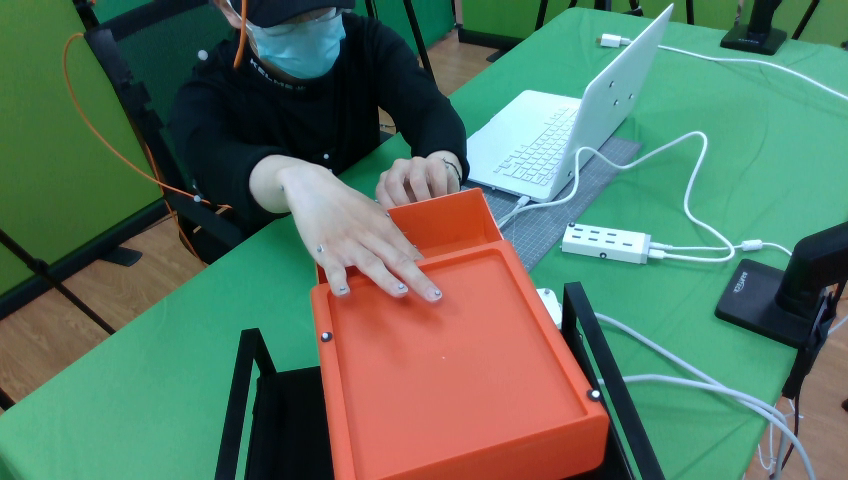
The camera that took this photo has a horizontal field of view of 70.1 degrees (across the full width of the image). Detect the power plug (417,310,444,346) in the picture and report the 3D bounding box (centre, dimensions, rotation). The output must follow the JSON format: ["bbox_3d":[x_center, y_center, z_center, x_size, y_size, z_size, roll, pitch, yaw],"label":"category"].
[{"bbox_3d":[0.006,0.123,0.785,0.035,0.053,0.072,1,39,9],"label":"power plug"}]

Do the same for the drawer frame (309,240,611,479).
[{"bbox_3d":[0.017,0.109,0.517,0.202,0.083,0.212,-13,40,-8],"label":"drawer frame"}]

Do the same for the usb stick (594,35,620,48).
[{"bbox_3d":[0.443,-0.482,1.466,0.059,0.021,0.027,10,43,10],"label":"usb stick"}]

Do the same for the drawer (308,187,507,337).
[{"bbox_3d":[-0.006,0.050,0.595,0.195,0.073,0.210,-12,40,-6],"label":"drawer"}]

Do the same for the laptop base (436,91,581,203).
[{"bbox_3d":[0.214,-0.193,1.172,0.233,0.023,0.355,19,46,32],"label":"laptop base"}]

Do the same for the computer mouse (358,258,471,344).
[{"bbox_3d":[-0.012,0.055,0.617,0.116,0.041,0.063,26,54,33],"label":"computer mouse"}]

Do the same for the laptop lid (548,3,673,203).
[{"bbox_3d":[0.320,-0.235,1.026,0.013,0.242,0.357,31,50,20],"label":"laptop lid"}]

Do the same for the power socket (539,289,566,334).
[{"bbox_3d":[0.081,0.111,0.822,0.227,0.033,0.072,-6,41,0],"label":"power socket"}]

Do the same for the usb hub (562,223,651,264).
[{"bbox_3d":[0.279,0.005,0.926,0.124,0.025,0.049,10,43,19],"label":"usb hub"}]
